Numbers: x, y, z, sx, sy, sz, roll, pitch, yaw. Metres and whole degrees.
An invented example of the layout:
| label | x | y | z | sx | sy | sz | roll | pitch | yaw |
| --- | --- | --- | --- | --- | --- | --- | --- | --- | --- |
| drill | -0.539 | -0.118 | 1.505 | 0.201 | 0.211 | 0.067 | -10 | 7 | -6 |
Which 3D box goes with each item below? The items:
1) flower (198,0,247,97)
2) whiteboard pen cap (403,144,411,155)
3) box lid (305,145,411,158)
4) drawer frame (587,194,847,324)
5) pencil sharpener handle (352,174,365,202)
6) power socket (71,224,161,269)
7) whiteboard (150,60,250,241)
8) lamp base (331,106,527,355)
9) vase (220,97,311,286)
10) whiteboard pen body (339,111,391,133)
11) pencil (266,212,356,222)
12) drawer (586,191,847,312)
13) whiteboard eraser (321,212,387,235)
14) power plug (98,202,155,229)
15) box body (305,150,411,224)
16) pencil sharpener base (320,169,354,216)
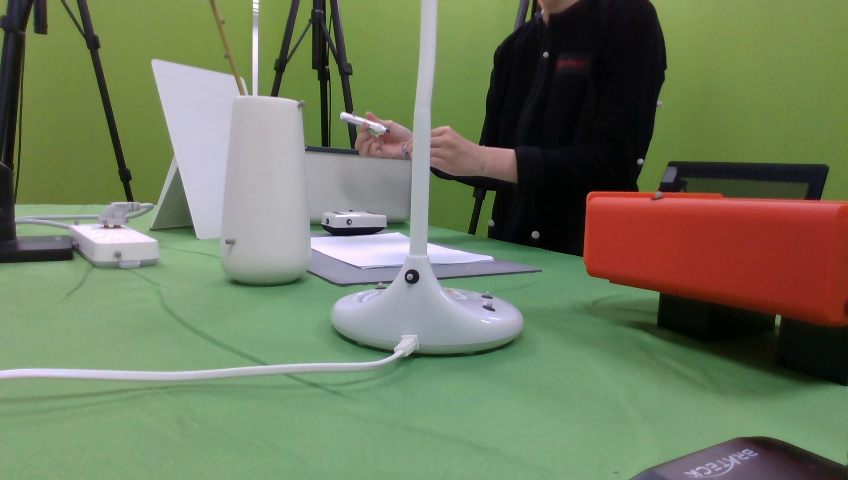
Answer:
| label | x | y | z | sx | sy | sz | roll | pitch | yaw |
| --- | --- | --- | --- | --- | --- | --- | --- | --- | --- |
| flower | -0.187 | -0.133 | 0.648 | 0.038 | 0.362 | 0.044 | -1 | 21 | 42 |
| whiteboard pen cap | -0.019 | -0.145 | 0.977 | 0.033 | 0.018 | 0.018 | 15 | 13 | 29 |
| box lid | -0.228 | -0.200 | 1.362 | 0.373 | 0.015 | 0.262 | -1 | 8 | -33 |
| drawer frame | 0.286 | 0.004 | 0.508 | 0.203 | 0.082 | 0.212 | -1 | 6 | -30 |
| pencil sharpener handle | -0.156 | -0.125 | 1.450 | 0.031 | 0.068 | 0.036 | 2 | 19 | -11 |
| power socket | -0.408 | 0.004 | 0.793 | 0.072 | 0.032 | 0.225 | -2 | 8 | -38 |
| whiteboard | -0.408 | -0.139 | 1.093 | 0.143 | 0.305 | 0.218 | -15 | -1 | 26 |
| lamp base | 0.006 | -0.012 | 0.478 | 0.161 | 0.180 | 0.179 | 2 | 10 | 2 |
| vase | -0.172 | -0.052 | 0.662 | 0.098 | 0.200 | 0.098 | 3 | 8 | 0 |
| whiteboard pen body | -0.107 | -0.211 | 1.089 | 0.140 | 0.017 | 0.017 | 26 | 21 | 39 |
| pencil | -0.244 | -0.049 | 1.318 | 0.195 | 0.012 | 0.012 | 4 | 7 | -12 |
| drawer | 0.281 | 0.001 | 0.513 | 0.195 | 0.073 | 0.210 | -1 | 8 | -29 |
| whiteboard eraser | -0.128 | -0.031 | 1.108 | 0.113 | 0.042 | 0.055 | -3 | 7 | -38 |
| power plug | -0.416 | -0.026 | 0.848 | 0.073 | 0.052 | 0.035 | 0 | 8 | -28 |
| box body | -0.230 | -0.126 | 1.372 | 0.366 | 0.160 | 0.253 | -2 | 8 | -33 |
| pencil sharpener base | -0.207 | -0.113 | 1.438 | 0.077 | 0.107 | 0.061 | 2 | 6 | -11 |
